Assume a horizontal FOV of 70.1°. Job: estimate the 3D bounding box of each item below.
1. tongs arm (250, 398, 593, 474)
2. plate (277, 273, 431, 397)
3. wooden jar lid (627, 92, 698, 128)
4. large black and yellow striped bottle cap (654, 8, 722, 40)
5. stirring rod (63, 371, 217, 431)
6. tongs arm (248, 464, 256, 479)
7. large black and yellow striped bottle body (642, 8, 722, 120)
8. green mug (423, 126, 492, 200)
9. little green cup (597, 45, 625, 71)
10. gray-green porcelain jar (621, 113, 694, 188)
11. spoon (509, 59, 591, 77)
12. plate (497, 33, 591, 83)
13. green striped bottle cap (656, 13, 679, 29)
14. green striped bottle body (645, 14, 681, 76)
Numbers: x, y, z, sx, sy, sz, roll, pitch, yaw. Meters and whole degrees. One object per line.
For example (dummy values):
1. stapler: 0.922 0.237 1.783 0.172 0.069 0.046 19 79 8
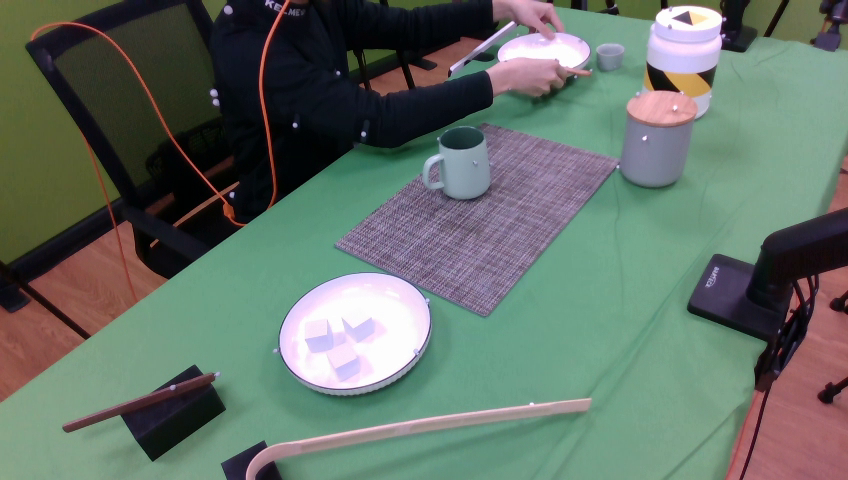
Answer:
1. tongs arm: 0.008 0.212 0.675 0.389 0.028 0.028 -5 46 -11
2. plate: -0.091 0.129 0.821 0.207 0.039 0.206 -4 40 4
3. wooden jar lid: 0.384 -0.207 0.980 0.108 0.021 0.108 -6 39 5
4. large black and yellow striped bottle cap: 0.483 -0.397 1.108 0.115 0.019 0.114 -3 41 3
5. stirring rod: -0.337 0.192 0.723 0.177 0.014 0.005 -18 43 -12
6. tongs arm: 0.012 0.262 0.615 0.385 0.026 0.050 3 42 -2
7. large black and yellow striped bottle body: 0.493 -0.334 1.161 0.131 0.185 0.130 -4 41 4
8. green mug: 0.055 -0.125 1.039 0.126 0.105 0.091 -25 44 -19
9. little green cup: 0.423 -0.413 1.375 0.061 0.039 0.061 -3 41 3
10. gray-green porcelain jar: 0.390 -0.161 1.020 0.106 0.127 0.105 -4 41 4
11. spoon: 0.268 -0.367 1.299 0.192 0.022 0.042 18 54 37
12. plate: 0.270 -0.407 1.367 0.209 0.038 0.208 -4 42 4
13. green striped bottle cap: 0.515 -0.463 1.278 0.044 0.020 0.044 -6 42 6
14. green striped bottle body: 0.520 -0.424 1.312 0.063 0.120 0.063 -4 41 4
